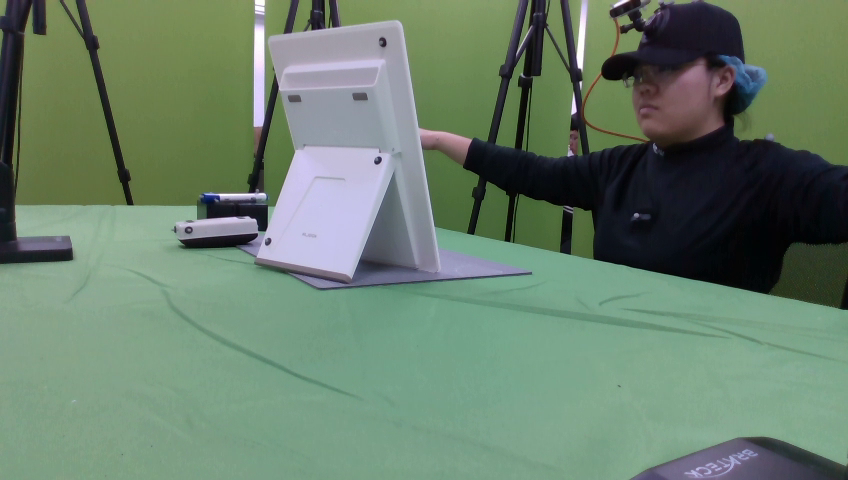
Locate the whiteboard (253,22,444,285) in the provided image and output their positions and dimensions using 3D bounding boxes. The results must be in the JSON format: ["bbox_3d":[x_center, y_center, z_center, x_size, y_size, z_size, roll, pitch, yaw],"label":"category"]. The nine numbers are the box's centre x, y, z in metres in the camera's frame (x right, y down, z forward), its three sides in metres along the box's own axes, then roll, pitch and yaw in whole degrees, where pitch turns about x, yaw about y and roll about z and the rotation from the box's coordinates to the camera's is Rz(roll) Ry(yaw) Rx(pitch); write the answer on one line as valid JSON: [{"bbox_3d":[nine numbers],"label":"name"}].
[{"bbox_3d":[-0.125,-0.081,0.715,0.216,0.305,0.144,9,29,36],"label":"whiteboard"}]

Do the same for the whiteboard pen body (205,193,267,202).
[{"bbox_3d":[-0.355,-0.081,1.147,0.017,0.017,0.141,8,9,34],"label":"whiteboard pen body"}]

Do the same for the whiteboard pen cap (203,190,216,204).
[{"bbox_3d":[-0.388,-0.077,1.093,0.018,0.018,0.033,2,25,-7],"label":"whiteboard pen cap"}]

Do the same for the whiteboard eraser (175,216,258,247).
[{"bbox_3d":[-0.313,-0.013,0.915,0.113,0.042,0.055,-5,12,-30],"label":"whiteboard eraser"}]
